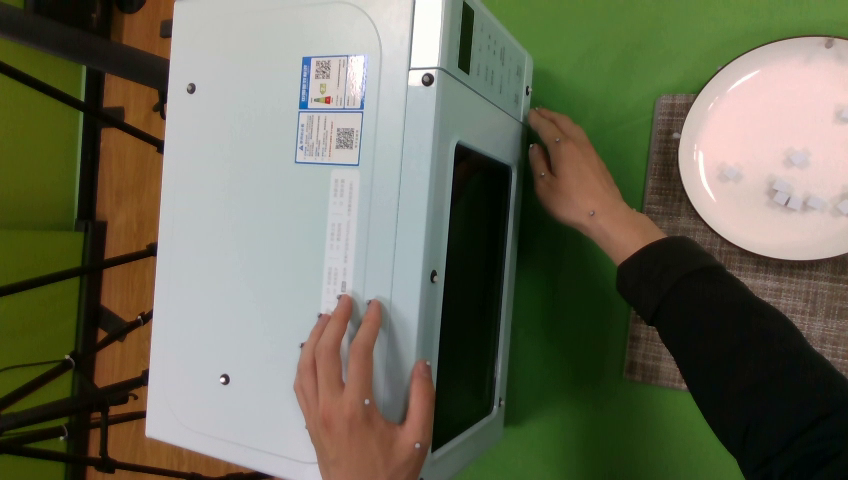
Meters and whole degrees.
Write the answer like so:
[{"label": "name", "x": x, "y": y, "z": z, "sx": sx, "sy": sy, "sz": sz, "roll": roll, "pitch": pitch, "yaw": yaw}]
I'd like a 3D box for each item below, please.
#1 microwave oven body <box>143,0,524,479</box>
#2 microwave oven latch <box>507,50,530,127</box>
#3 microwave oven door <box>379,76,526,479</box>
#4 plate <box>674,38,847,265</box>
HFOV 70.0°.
[{"label": "microwave oven body", "x": -0.089, "y": -0.005, "z": 0.654, "sx": 0.324, "sy": 0.261, "sz": 0.441, "roll": 5, "pitch": 92, "yaw": 25}, {"label": "microwave oven latch", "x": 0.101, "y": -0.167, "z": 0.671, "sx": 0.030, "sy": 0.029, "sz": 0.079, "roll": 6, "pitch": 92, "yaw": 25}, {"label": "microwave oven door", "x": 0.036, "y": 0.048, "z": 0.587, "sx": 0.039, "sy": 0.245, "sz": 0.355, "roll": 5, "pitch": 91, "yaw": 26}, {"label": "plate", "x": 0.347, "y": -0.079, "z": 0.566, "sx": 0.208, "sy": 0.038, "sz": 0.209, "roll": -1, "pitch": 89, "yaw": 26}]
